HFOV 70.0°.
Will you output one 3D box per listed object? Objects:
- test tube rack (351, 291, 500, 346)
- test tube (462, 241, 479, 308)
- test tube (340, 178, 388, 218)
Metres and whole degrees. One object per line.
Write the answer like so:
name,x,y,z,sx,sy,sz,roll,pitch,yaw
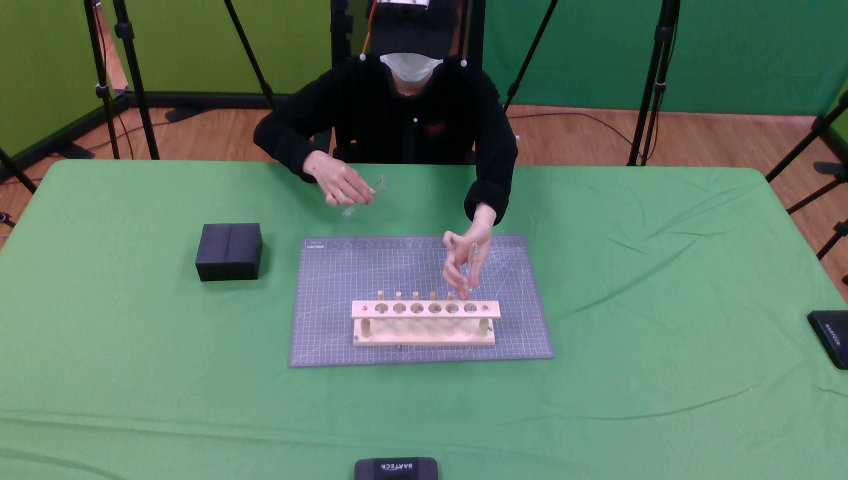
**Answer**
test tube rack,0.000,0.129,1.026,0.242,0.085,0.066,1,46,-4
test tube,0.075,0.058,0.982,0.017,0.151,0.017,2,45,-2
test tube,-0.118,-0.079,1.161,0.017,0.150,0.017,22,53,-32
